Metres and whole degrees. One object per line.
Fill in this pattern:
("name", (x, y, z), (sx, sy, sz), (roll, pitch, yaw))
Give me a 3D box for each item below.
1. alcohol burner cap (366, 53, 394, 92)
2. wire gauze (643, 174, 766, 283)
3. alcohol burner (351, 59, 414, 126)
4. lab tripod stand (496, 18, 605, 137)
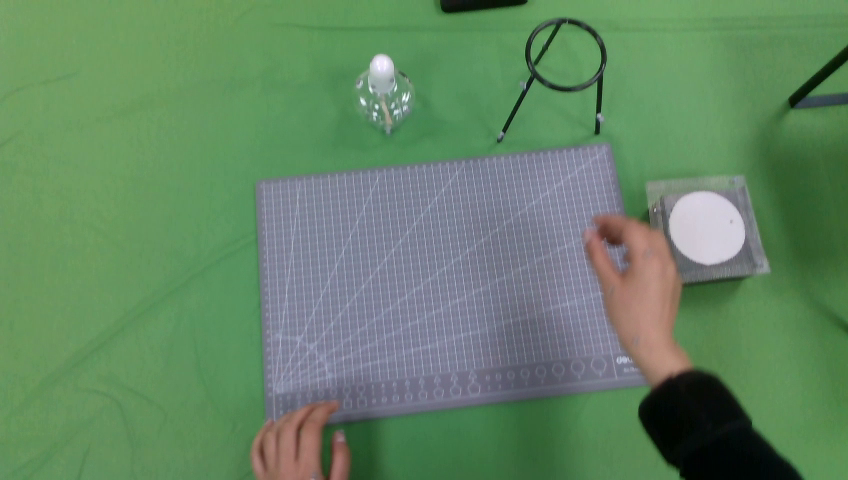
("alcohol burner cap", (-0.050, -0.194, 0.695), (0.034, 0.048, 0.033), (1, 80, -5))
("wire gauze", (0.317, -0.016, 0.693), (0.121, 0.011, 0.124), (-4, 74, 1))
("alcohol burner", (-0.050, -0.186, 0.729), (0.078, 0.119, 0.077), (1, 75, -2))
("lab tripod stand", (0.157, -0.186, 0.722), (0.148, 0.132, 0.147), (1, 74, -2))
